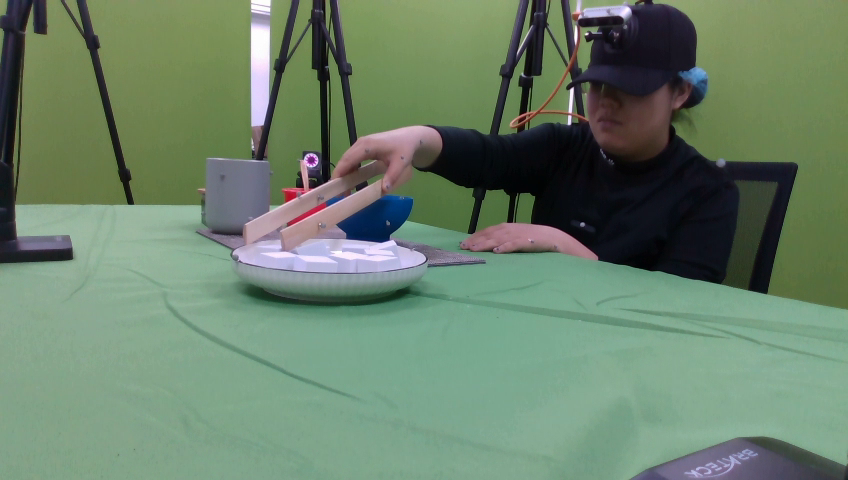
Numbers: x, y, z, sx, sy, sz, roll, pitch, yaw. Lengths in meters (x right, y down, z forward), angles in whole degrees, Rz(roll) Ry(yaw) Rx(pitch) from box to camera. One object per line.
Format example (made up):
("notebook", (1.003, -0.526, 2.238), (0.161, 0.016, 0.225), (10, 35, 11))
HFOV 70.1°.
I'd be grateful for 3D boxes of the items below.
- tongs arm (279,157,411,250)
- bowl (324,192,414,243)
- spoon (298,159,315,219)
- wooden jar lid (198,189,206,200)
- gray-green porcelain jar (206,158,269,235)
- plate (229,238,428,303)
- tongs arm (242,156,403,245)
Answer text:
("tongs arm", (-0.086, -0.061, 0.803), (0.028, 0.028, 0.388), (2, 19, 20))
("bowl", (-0.094, -0.037, 1.015), (0.151, 0.077, 0.151), (3, 7, 0))
("spoon", (-0.244, -0.103, 1.251), (0.042, 0.021, 0.193), (1, 51, -17))
("wooden jar lid", (-0.382, -0.088, 1.175), (0.108, 0.020, 0.108), (3, 8, 0))
("gray-green porcelain jar", (-0.323, -0.076, 1.048), (0.106, 0.126, 0.106), (3, 7, 0))
("plate", (-0.099, 0.032, 0.651), (0.209, 0.038, 0.209), (3, 8, 0))
("tongs arm", (-0.114, -0.064, 0.813), (0.050, 0.026, 0.385), (4, 20, 17))
